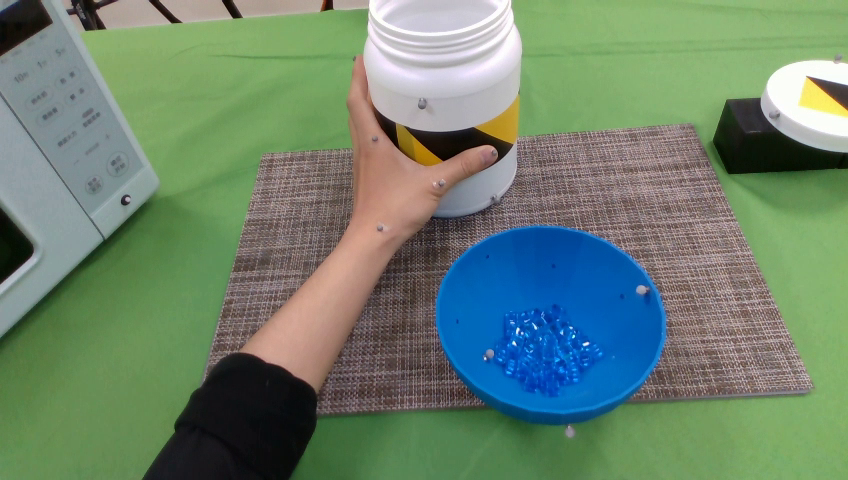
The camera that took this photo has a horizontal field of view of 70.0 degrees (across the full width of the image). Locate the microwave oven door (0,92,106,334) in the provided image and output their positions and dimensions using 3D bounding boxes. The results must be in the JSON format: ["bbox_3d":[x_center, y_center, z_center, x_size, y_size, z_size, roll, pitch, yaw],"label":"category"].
[{"bbox_3d":[-0.396,0.036,0.376,0.039,0.246,0.354,18,54,21],"label":"microwave oven door"}]

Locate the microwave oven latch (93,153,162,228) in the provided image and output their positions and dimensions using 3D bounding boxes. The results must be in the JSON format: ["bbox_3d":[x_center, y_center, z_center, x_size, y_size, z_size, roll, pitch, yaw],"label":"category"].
[{"bbox_3d":[-0.286,-0.049,0.573,0.030,0.030,0.079,21,55,21],"label":"microwave oven latch"}]

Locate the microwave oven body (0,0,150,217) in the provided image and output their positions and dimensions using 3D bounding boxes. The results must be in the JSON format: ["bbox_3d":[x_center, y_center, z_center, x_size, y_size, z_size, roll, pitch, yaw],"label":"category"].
[{"bbox_3d":[-0.506,-0.033,0.453,0.324,0.263,0.439,19,55,20],"label":"microwave oven body"}]

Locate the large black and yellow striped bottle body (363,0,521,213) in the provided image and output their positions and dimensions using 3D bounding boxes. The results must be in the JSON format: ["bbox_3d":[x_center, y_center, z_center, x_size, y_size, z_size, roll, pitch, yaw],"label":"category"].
[{"bbox_3d":[0.018,-0.128,0.532,0.131,0.186,0.129,-3,49,4],"label":"large black and yellow striped bottle body"}]

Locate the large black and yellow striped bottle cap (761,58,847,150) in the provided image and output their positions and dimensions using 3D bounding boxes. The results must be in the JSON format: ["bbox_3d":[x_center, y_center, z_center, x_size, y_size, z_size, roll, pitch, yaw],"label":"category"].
[{"bbox_3d":[0.367,-0.125,0.543,0.115,0.019,0.114,-4,49,4],"label":"large black and yellow striped bottle cap"}]

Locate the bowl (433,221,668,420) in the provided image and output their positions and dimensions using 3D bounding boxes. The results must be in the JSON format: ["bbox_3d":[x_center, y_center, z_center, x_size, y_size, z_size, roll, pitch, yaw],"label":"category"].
[{"bbox_3d":[0.084,0.067,0.428,0.151,0.077,0.150,-3,49,4],"label":"bowl"}]
